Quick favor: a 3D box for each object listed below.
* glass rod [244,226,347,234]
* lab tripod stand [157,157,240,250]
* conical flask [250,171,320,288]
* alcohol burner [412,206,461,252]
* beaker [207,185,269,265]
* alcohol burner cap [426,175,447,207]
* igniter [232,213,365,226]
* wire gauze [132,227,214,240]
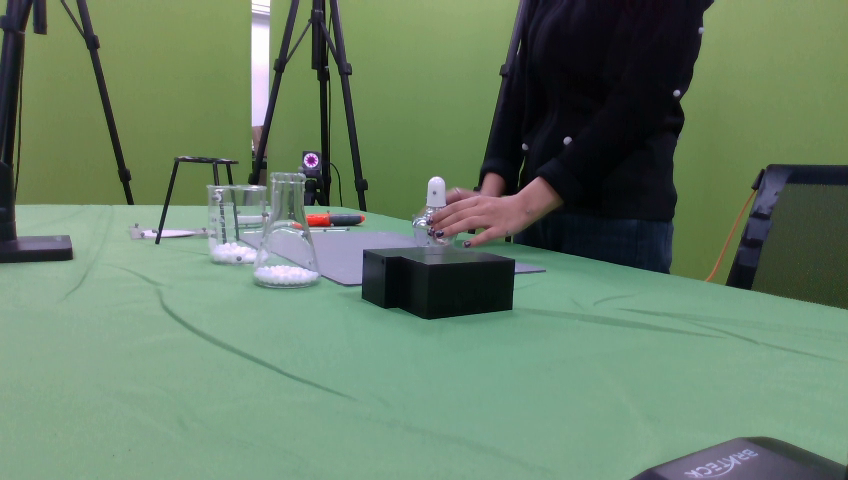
[{"bbox_3d":[-0.239,-0.020,1.145,0.201,0.008,0.008,-4,9,-29],"label":"glass rod"},{"bbox_3d":[-0.322,-0.057,0.905,0.148,0.131,0.148,4,7,0],"label":"lab tripod stand"},{"bbox_3d":[-0.150,-0.013,0.658,0.075,0.122,0.075,2,7,0],"label":"conical flask"},{"bbox_3d":[0.020,-0.041,0.948,0.078,0.119,0.078,0,7,0],"label":"alcohol burner"},{"bbox_3d":[-0.244,-0.021,0.784,0.083,0.100,0.074,6,8,30],"label":"beaker"},{"bbox_3d":[0.019,-0.077,0.942,0.034,0.048,0.034,0,14,0],"label":"alcohol burner cap"},{"bbox_3d":[-0.246,-0.042,1.223,0.278,0.025,0.057,-3,-1,-36],"label":"igniter"},{"bbox_3d":[-0.425,-0.013,1.018,0.122,0.011,0.124,-1,6,-28],"label":"wire gauze"}]
